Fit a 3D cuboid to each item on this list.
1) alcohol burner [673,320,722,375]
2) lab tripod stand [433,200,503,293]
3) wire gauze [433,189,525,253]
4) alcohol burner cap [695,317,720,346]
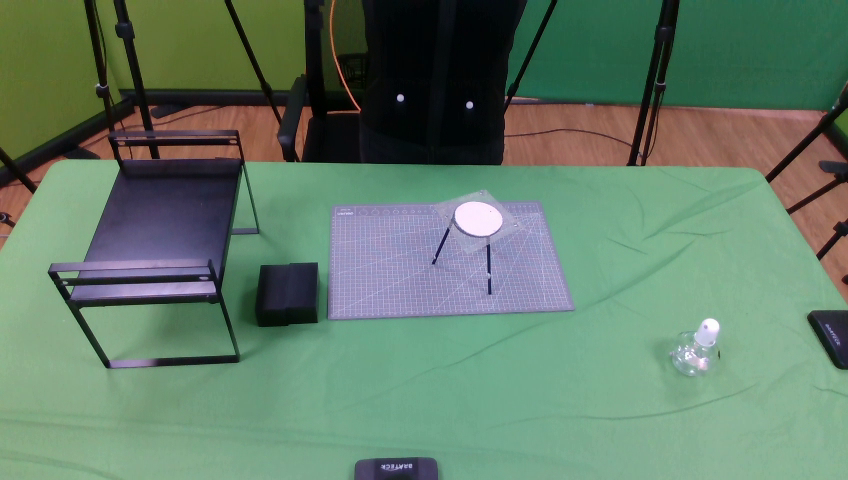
[{"bbox_3d":[0.458,0.170,1.002,0.078,0.120,0.077,1,45,-1],"label":"alcohol burner"},{"bbox_3d":[0.095,0.006,1.115,0.148,0.132,0.147,3,47,-3],"label":"lab tripod stand"},{"bbox_3d":[0.095,-0.039,1.065,0.121,0.011,0.124,-20,52,-23],"label":"wire gauze"},{"bbox_3d":[0.459,0.145,0.975,0.034,0.048,0.033,-3,45,3],"label":"alcohol burner cap"}]
